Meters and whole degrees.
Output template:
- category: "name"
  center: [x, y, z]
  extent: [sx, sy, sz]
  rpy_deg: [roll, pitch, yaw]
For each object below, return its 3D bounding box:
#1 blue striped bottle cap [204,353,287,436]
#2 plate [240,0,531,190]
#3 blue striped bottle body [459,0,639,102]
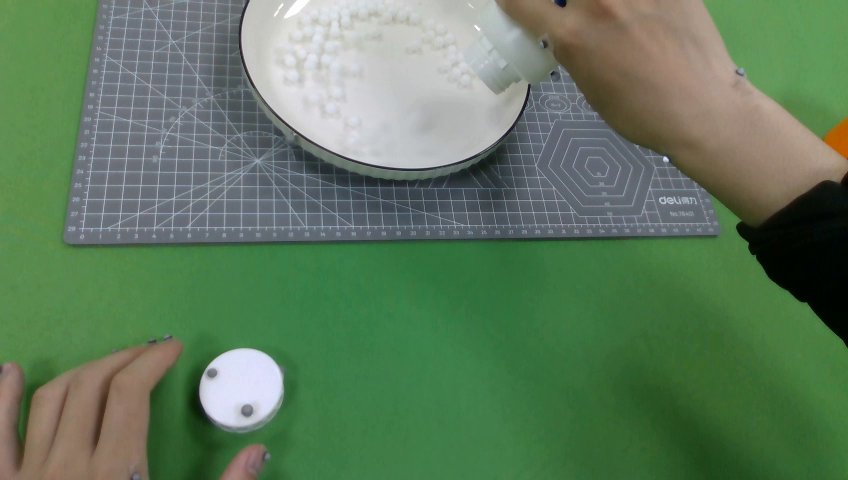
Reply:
- category: "blue striped bottle cap"
  center: [-0.099, 0.085, 0.338]
  extent: [0.045, 0.021, 0.044]
  rpy_deg: [4, 66, -9]
- category: "plate"
  center: [-0.025, -0.122, 0.443]
  extent: [0.208, 0.039, 0.206]
  rpy_deg: [6, 62, -10]
- category: "blue striped bottle body"
  center: [0.080, -0.145, 0.397]
  extent: [0.063, 0.121, 0.062]
  rpy_deg: [42, 21, -20]
